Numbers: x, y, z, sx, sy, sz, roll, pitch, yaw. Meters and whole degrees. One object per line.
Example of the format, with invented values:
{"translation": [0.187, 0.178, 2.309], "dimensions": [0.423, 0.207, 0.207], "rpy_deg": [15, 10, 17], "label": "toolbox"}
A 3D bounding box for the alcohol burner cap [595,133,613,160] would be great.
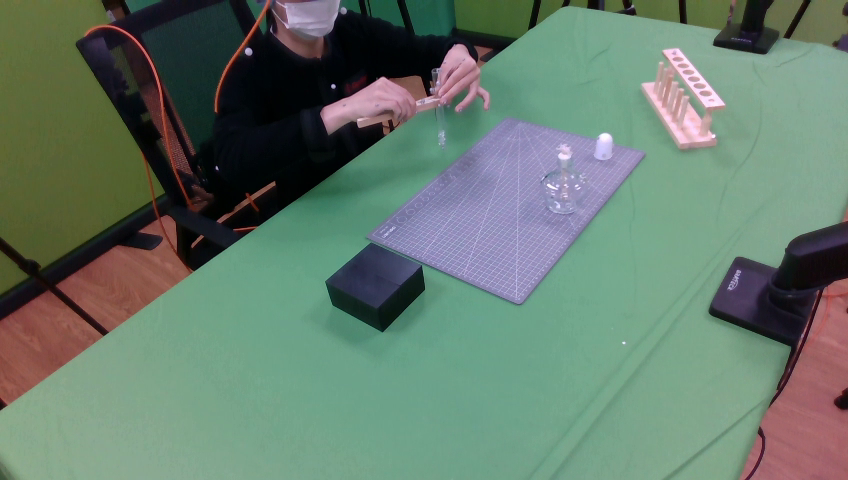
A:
{"translation": [0.330, -0.172, 1.104], "dimensions": [0.034, 0.048, 0.033], "rpy_deg": [-5, 41, 5], "label": "alcohol burner cap"}

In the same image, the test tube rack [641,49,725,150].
{"translation": [0.495, -0.279, 1.175], "dimensions": [0.067, 0.085, 0.241], "rpy_deg": [-5, 41, 3], "label": "test tube rack"}

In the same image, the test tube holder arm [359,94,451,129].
{"translation": [-0.030, -0.220, 1.033], "dimensions": [0.179, 0.015, 0.013], "rpy_deg": [-23, 37, -24], "label": "test tube holder arm"}

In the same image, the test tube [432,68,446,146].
{"translation": [0.027, -0.233, 1.077], "dimensions": [0.017, 0.151, 0.017], "rpy_deg": [-4, 41, 4], "label": "test tube"}

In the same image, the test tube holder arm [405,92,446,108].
{"translation": [0.003, -0.239, 1.057], "dimensions": [0.088, 0.015, 0.010], "rpy_deg": [-28, 40, -31], "label": "test tube holder arm"}

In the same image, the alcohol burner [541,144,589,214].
{"translation": [0.229, -0.102, 0.983], "dimensions": [0.078, 0.119, 0.077], "rpy_deg": [-6, 41, 5], "label": "alcohol burner"}
